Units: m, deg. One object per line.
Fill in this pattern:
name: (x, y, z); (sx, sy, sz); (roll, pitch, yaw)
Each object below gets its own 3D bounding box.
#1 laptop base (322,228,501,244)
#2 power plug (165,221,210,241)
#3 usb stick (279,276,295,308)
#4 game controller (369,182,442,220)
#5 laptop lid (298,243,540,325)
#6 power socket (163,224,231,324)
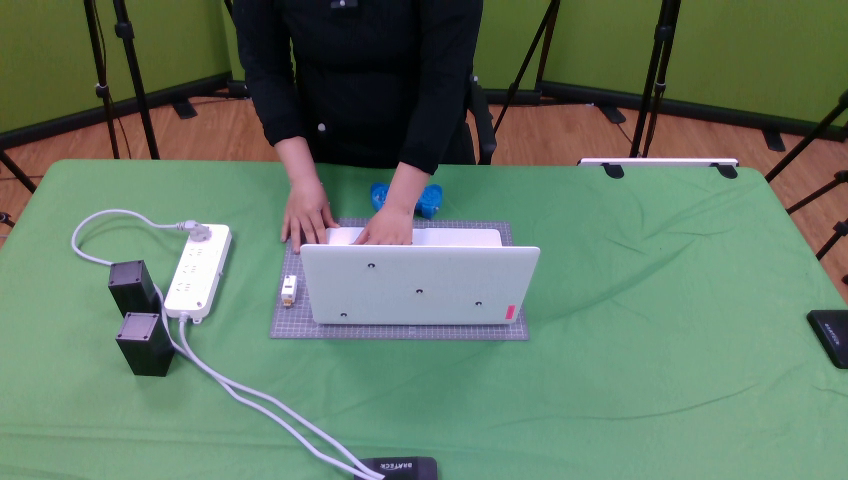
laptop base: (-0.021, 0.064, 1.136); (0.355, 0.023, 0.234); (1, 43, -4)
power plug: (-0.440, -0.015, 1.143); (0.072, 0.053, 0.035); (6, 46, 8)
usb stick: (-0.245, 0.093, 1.079); (0.021, 0.027, 0.059); (3, 47, -5)
game controller: (-0.039, -0.091, 1.267); (0.155, 0.052, 0.096); (1, 50, -2)
laptop lid: (-0.010, 0.077, 0.958); (0.357, 0.243, 0.013); (1, 53, -5)
power socket: (-0.411, 0.052, 1.106); (0.072, 0.033, 0.225); (3, 46, -3)
